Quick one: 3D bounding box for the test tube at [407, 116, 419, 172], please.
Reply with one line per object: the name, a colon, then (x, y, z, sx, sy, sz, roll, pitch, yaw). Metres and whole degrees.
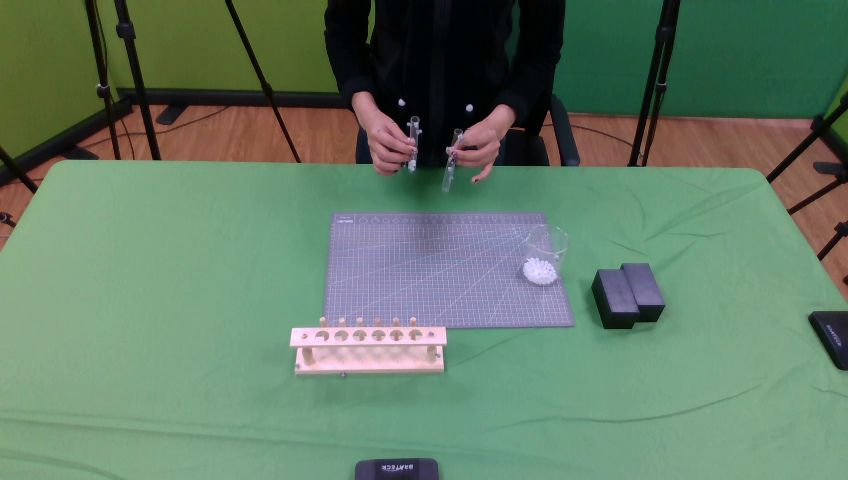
test tube: (-0.021, -0.172, 1.105, 0.017, 0.151, 0.017, 2, 61, -3)

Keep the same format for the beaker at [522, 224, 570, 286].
beaker: (0.221, 0.032, 1.129, 0.084, 0.101, 0.073, -6, 46, -9)

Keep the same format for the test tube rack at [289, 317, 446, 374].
test tube rack: (-0.089, 0.167, 0.988, 0.242, 0.085, 0.066, 0, 46, -4)

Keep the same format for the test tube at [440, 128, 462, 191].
test tube: (0.048, -0.144, 1.113, 0.017, 0.151, 0.017, 6, 50, -7)
